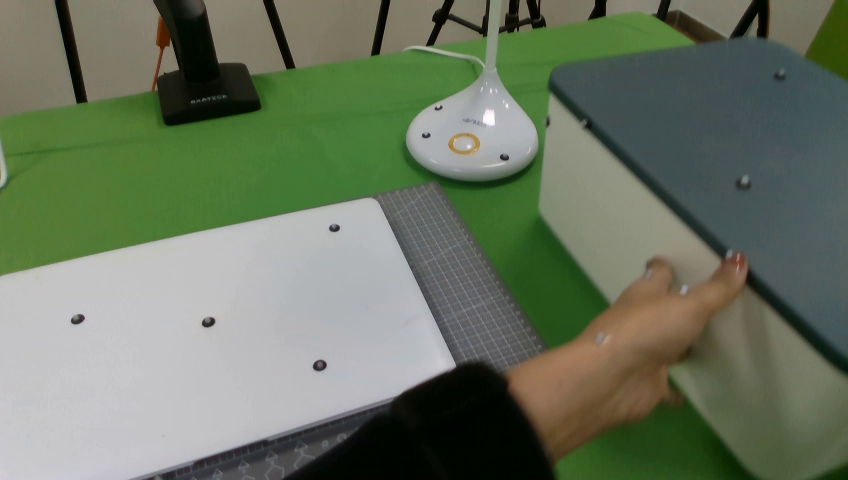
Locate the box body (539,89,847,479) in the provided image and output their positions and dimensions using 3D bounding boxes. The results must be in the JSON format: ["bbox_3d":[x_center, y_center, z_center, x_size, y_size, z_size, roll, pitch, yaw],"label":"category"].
[{"bbox_3d":[0.285,-0.009,0.511,0.255,0.162,0.359,-14,45,-16],"label":"box body"}]

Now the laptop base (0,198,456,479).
[{"bbox_3d":[-0.176,0.077,0.512,0.355,0.023,0.233,-14,49,-16],"label":"laptop base"}]

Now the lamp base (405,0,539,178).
[{"bbox_3d":[0.061,-0.190,0.685,0.160,0.182,0.178,10,42,9],"label":"lamp base"}]

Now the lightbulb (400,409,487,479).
[{"bbox_3d":[0.019,0.166,0.403,0.059,0.060,0.106,-10,60,-11],"label":"lightbulb"}]

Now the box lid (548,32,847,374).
[{"bbox_3d":[0.286,-0.065,0.461,0.264,0.015,0.367,-13,45,-16],"label":"box lid"}]

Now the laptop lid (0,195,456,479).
[{"bbox_3d":[-0.175,0.070,0.502,0.357,0.013,0.239,-12,47,-14],"label":"laptop lid"}]
